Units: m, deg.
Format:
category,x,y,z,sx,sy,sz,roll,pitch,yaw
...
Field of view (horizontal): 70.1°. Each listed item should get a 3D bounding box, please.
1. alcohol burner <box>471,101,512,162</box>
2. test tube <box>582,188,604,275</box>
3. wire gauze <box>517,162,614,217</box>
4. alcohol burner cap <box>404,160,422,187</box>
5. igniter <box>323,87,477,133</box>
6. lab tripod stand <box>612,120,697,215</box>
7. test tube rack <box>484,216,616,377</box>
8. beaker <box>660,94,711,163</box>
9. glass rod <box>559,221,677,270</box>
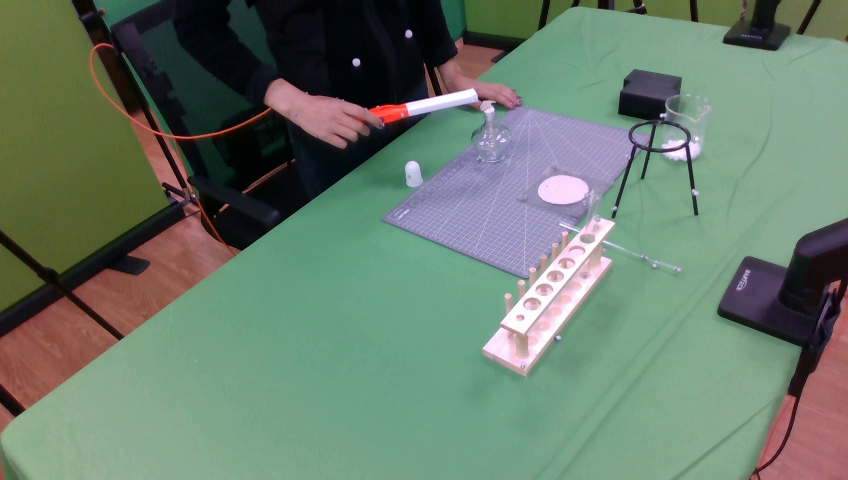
category,x,y,z,sx,sy,sz,roll,pitch,yaw
alcohol burner,0.125,-0.207,1.126,0.078,0.119,0.077,-5,43,5
test tube,0.228,-0.007,0.821,0.017,0.151,0.017,-3,42,3
wire gauze,0.245,-0.088,1.046,0.120,0.011,0.125,25,50,32
alcohol burner cap,-0.023,-0.125,1.118,0.034,0.048,0.033,-4,40,4
igniter,-0.042,-0.230,1.072,0.277,0.025,0.057,-13,37,-5
lab tripod stand,0.369,-0.112,0.958,0.148,0.132,0.147,-4,40,4
test tube rack,0.174,0.064,0.823,0.066,0.085,0.243,23,49,33
beaker,0.457,-0.192,1.063,0.074,0.101,0.083,-7,41,4
glass rod,0.292,0.007,0.927,0.198,0.008,0.008,26,52,36
